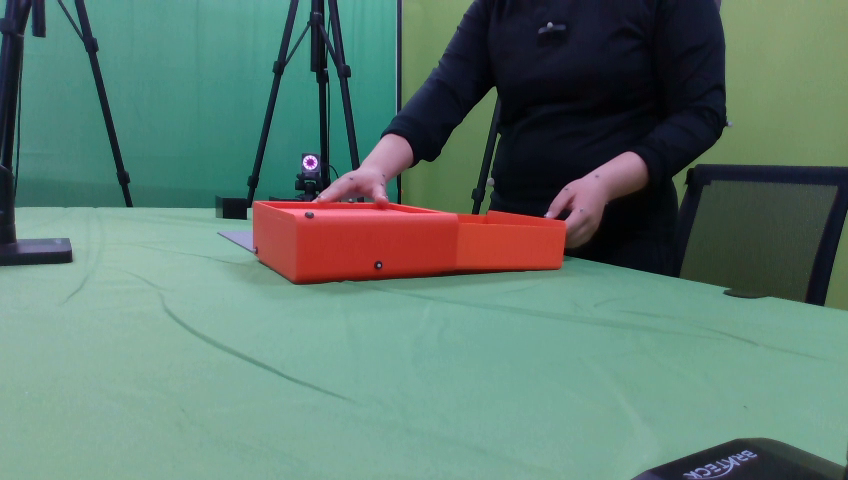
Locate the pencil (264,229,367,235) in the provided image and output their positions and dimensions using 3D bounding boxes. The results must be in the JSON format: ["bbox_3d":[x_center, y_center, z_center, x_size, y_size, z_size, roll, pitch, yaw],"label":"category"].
[{"bbox_3d":[-0.195,-0.013,1.109,0.195,0.012,0.012,1,7,-28],"label":"pencil"}]

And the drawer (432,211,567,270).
[{"bbox_3d":[0.063,-0.005,0.879,0.213,0.073,0.193,1,7,-30],"label":"drawer"}]

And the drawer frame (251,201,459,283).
[{"bbox_3d":[-0.094,-0.006,0.788,0.215,0.082,0.200,-2,9,-30],"label":"drawer frame"}]
